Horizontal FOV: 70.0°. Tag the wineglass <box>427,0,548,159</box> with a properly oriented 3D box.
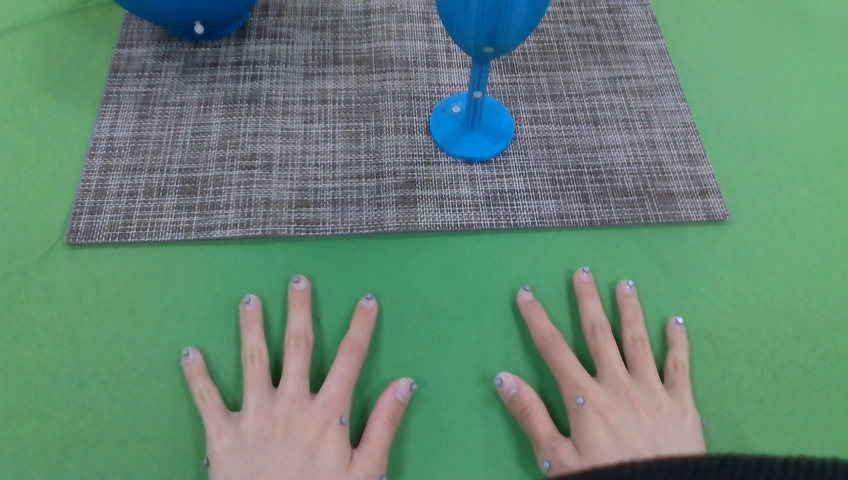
[{"bbox_3d":[0.037,-0.130,0.383,0.074,0.173,0.073,1,60,-2],"label":"wineglass"}]

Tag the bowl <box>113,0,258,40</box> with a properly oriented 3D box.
[{"bbox_3d":[-0.182,-0.213,0.474,0.151,0.077,0.150,1,60,-2],"label":"bowl"}]
